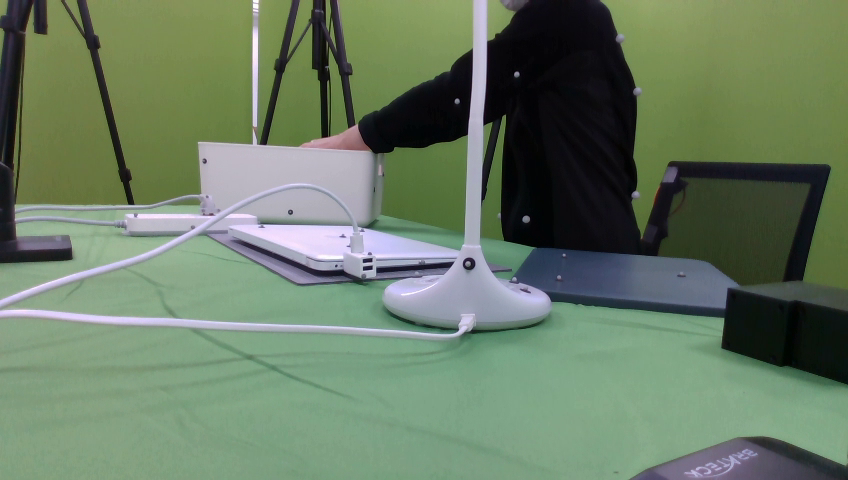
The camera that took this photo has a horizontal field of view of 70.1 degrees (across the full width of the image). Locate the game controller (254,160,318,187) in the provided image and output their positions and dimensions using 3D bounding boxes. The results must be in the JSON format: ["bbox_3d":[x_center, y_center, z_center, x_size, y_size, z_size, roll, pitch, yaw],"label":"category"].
[{"bbox_3d":[-0.301,-0.146,1.314,0.097,0.051,0.155,-2,11,12],"label":"game controller"}]

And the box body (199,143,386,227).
[{"bbox_3d":[-0.276,-0.124,1.334,0.364,0.160,0.254,3,7,1],"label":"box body"}]

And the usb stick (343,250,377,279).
[{"bbox_3d":[-0.076,0.026,0.687,0.021,0.027,0.059,-8,9,-31],"label":"usb stick"}]

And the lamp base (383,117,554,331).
[{"bbox_3d":[0.045,-0.019,0.547,0.161,0.180,0.179,2,10,-4],"label":"lamp base"}]

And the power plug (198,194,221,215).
[{"bbox_3d":[-0.387,-0.055,1.089,0.035,0.052,0.072,-1,7,-22],"label":"power plug"}]

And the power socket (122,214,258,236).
[{"bbox_3d":[-0.399,-0.028,1.049,0.228,0.032,0.072,-3,8,-34],"label":"power socket"}]

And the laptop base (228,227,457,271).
[{"bbox_3d":[-0.123,0.011,0.889,0.237,0.023,0.352,2,6,-35],"label":"laptop base"}]

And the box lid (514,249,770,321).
[{"bbox_3d":[0.259,0.048,0.781,0.263,0.015,0.372,4,7,14],"label":"box lid"}]

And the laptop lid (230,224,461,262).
[{"bbox_3d":[-0.120,0.000,0.889,0.243,0.013,0.355,1,7,-33],"label":"laptop lid"}]
